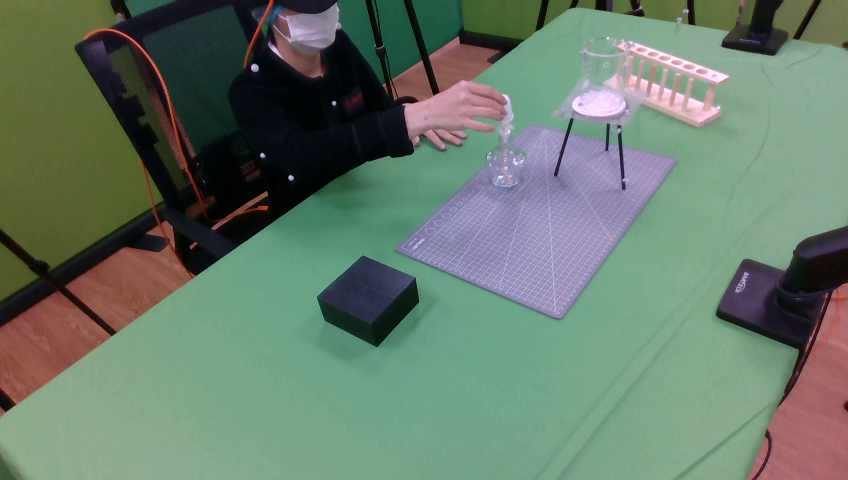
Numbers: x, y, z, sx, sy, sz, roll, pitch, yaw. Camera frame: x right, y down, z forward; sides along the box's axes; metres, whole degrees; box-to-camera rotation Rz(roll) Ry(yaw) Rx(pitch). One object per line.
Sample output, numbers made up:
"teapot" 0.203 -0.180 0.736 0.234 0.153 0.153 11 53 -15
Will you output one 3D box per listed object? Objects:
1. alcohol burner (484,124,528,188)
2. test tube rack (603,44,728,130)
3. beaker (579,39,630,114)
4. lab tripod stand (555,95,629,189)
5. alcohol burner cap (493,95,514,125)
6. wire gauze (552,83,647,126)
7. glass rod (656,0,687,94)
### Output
"alcohol burner" 0.144 -0.152 1.059 0.078 0.119 0.077 -3 41 3
"test tube rack" 0.480 -0.316 1.227 0.067 0.085 0.240 -28 44 -22
"beaker" 0.289 -0.263 0.975 0.073 0.101 0.084 17 45 27
"lab tripod stand" 0.300 -0.174 1.045 0.148 0.132 0.147 -5 38 5
"alcohol burner cap" 0.129 -0.217 0.995 0.034 0.048 0.033 -7 52 9
"wire gauze" 0.293 -0.224 1.004 0.120 0.011 0.125 19 43 26
"glass rod" 0.491 -0.381 1.199 0.008 0.200 0.008 1 41 0
